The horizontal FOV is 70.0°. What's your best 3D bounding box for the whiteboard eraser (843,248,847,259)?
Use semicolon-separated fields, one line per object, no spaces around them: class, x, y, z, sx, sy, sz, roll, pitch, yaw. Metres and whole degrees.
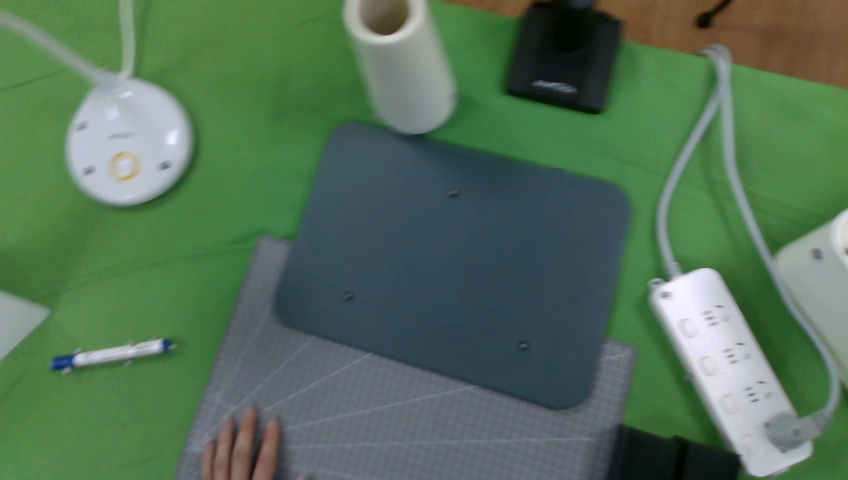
whiteboard eraser;0.470;0.053;0.614;0.055;0.042;0.112;-38;79;2

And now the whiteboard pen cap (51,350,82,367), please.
whiteboard pen cap;-0.420;0.139;0.715;0.033;0.018;0.018;-11;78;7

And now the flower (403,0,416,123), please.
flower;-0.011;-0.221;0.564;0.038;0.364;0.043;-28;70;-16

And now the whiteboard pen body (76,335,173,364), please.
whiteboard pen body;-0.362;0.131;0.710;0.141;0.017;0.017;-11;78;5

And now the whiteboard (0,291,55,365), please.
whiteboard;-0.615;0.057;0.637;0.217;0.308;0.142;-42;58;-3

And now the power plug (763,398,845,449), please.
power plug;0.369;0.179;0.590;0.072;0.053;0.035;-14;76;-1

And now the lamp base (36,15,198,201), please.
lamp base;-0.371;-0.152;0.683;0.160;0.181;0.178;-15;75;3

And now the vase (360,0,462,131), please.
vase;-0.011;-0.192;0.642;0.098;0.201;0.097;-1;78;5

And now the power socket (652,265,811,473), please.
power socket;0.315;0.131;0.629;0.072;0.033;0.225;-23;77;1

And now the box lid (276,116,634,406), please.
box lid;0.034;0.015;0.693;0.370;0.015;0.262;15;81;9

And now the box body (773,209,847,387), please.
box body;0.537;0.097;0.544;0.254;0.161;0.362;-28;77;0
